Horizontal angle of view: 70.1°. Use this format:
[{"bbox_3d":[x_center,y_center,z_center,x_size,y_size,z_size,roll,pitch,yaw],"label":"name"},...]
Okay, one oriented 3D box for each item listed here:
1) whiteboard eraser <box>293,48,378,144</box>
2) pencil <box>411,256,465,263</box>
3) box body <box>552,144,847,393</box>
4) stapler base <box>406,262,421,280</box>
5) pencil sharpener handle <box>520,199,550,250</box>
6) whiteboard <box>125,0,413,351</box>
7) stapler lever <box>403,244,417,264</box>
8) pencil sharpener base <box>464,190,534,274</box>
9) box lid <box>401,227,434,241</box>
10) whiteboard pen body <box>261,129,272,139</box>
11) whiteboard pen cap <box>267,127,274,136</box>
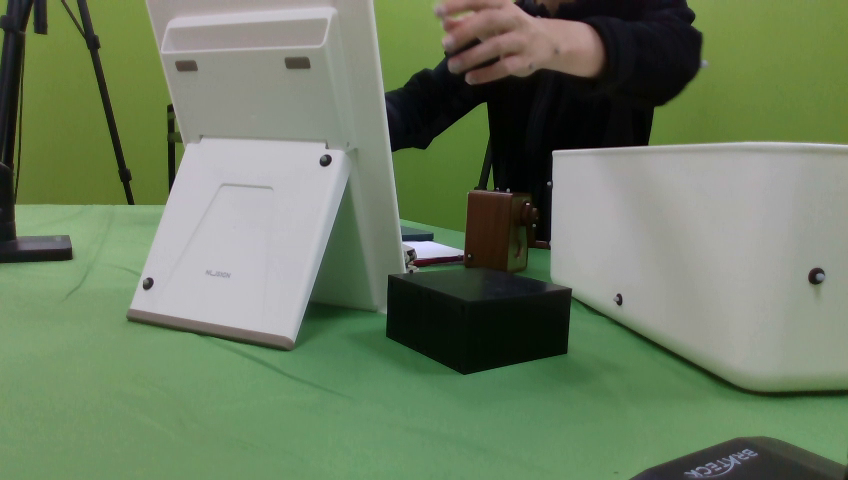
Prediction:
[{"bbox_3d":[-0.095,-0.145,0.635,0.056,0.042,0.112,23,-34,-20],"label":"whiteboard eraser"},{"bbox_3d":[0.040,0.027,0.851,0.195,0.012,0.012,-1,8,-41],"label":"pencil"},{"bbox_3d":[0.290,0.002,0.549,0.255,0.160,0.363,2,7,-10],"label":"box body"},{"bbox_3d":[-0.069,0.027,0.759,0.130,0.024,0.041,9,13,23],"label":"stapler base"},{"bbox_3d":[0.147,-0.019,0.785,0.030,0.068,0.036,8,25,36],"label":"pencil sharpener handle"},{"bbox_3d":[-0.151,-0.050,0.471,0.216,0.305,0.144,6,27,24],"label":"whiteboard"},{"bbox_3d":[-0.066,0.003,0.755,0.117,0.040,0.027,9,13,23],"label":"stapler lever"},{"bbox_3d":[0.103,-0.012,0.812,0.076,0.107,0.061,8,9,36],"label":"pencil sharpener base"},{"bbox_3d":[-0.196,-0.015,1.105,0.373,0.015,0.262,-1,7,-32],"label":"box lid"},{"bbox_3d":[-0.361,-0.245,1.393,0.017,0.017,0.140,0,5,-20],"label":"whiteboard pen body"},{"bbox_3d":[-0.340,-0.239,1.337,0.018,0.018,0.033,1,-1,-14],"label":"whiteboard pen cap"}]
